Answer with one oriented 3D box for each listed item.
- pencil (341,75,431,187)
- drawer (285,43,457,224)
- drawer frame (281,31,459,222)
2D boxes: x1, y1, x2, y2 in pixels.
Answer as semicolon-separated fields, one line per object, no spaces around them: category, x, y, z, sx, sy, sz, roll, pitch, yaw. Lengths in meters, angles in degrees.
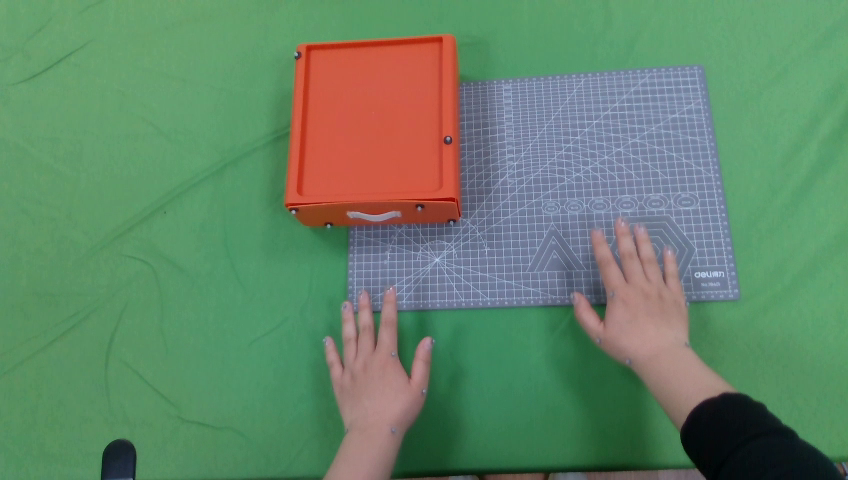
pencil;-0.048;-0.139;0.765;0.012;0.012;0.193;-37;76;-4
drawer;-0.059;-0.128;0.737;0.194;0.074;0.210;-2;73;7
drawer frame;-0.061;-0.133;0.737;0.201;0.083;0.212;-3;73;7
